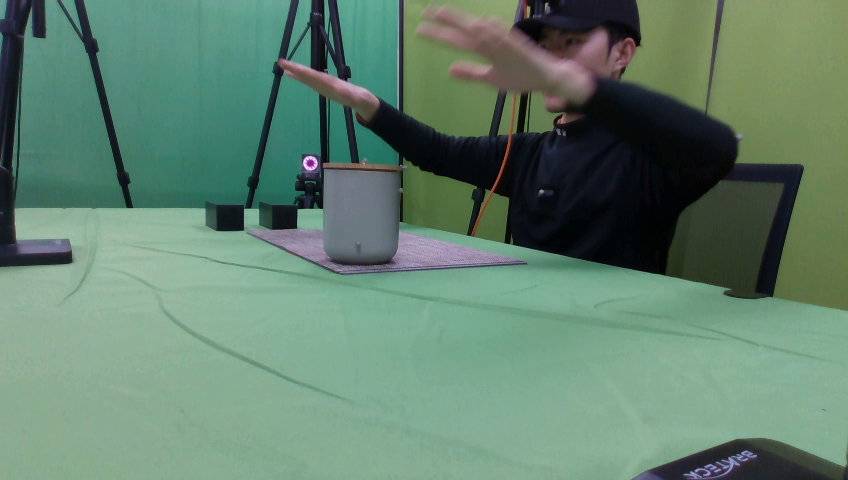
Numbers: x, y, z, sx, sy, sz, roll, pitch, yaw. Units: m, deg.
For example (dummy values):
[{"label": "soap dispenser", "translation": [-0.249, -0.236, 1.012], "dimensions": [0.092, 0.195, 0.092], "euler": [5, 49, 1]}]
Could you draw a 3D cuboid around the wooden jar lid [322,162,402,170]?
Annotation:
[{"label": "wooden jar lid", "translation": [-0.084, -0.095, 0.825], "dimensions": [0.108, 0.020, 0.108], "euler": [2, 4, 0]}]

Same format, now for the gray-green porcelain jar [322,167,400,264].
[{"label": "gray-green porcelain jar", "translation": [-0.087, -0.035, 0.833], "dimensions": [0.106, 0.126, 0.106], "euler": [2, 7, 0]}]
